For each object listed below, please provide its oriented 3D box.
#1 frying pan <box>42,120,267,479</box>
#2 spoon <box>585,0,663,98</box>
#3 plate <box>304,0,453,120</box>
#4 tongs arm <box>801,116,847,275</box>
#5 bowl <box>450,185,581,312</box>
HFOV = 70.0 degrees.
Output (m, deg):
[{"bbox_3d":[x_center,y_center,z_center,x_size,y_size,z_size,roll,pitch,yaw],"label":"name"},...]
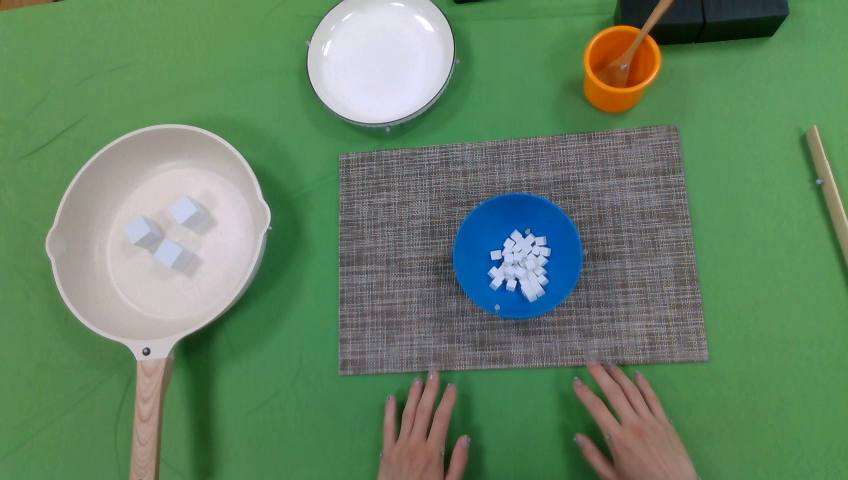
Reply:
[{"bbox_3d":[-0.339,0.084,0.768,0.306,0.103,0.484,-6,69,7],"label":"frying pan"},{"bbox_3d":[0.261,-0.257,0.741,0.041,0.194,0.022,46,42,18],"label":"spoon"},{"bbox_3d":[-0.062,-0.260,0.841,0.207,0.039,0.206,-2,78,8],"label":"plate"},{"bbox_3d":[0.512,0.033,0.706,0.028,0.028,0.385,-12,77,3],"label":"tongs arm"},{"bbox_3d":[0.109,0.017,0.733,0.151,0.077,0.150,-2,77,7],"label":"bowl"}]
